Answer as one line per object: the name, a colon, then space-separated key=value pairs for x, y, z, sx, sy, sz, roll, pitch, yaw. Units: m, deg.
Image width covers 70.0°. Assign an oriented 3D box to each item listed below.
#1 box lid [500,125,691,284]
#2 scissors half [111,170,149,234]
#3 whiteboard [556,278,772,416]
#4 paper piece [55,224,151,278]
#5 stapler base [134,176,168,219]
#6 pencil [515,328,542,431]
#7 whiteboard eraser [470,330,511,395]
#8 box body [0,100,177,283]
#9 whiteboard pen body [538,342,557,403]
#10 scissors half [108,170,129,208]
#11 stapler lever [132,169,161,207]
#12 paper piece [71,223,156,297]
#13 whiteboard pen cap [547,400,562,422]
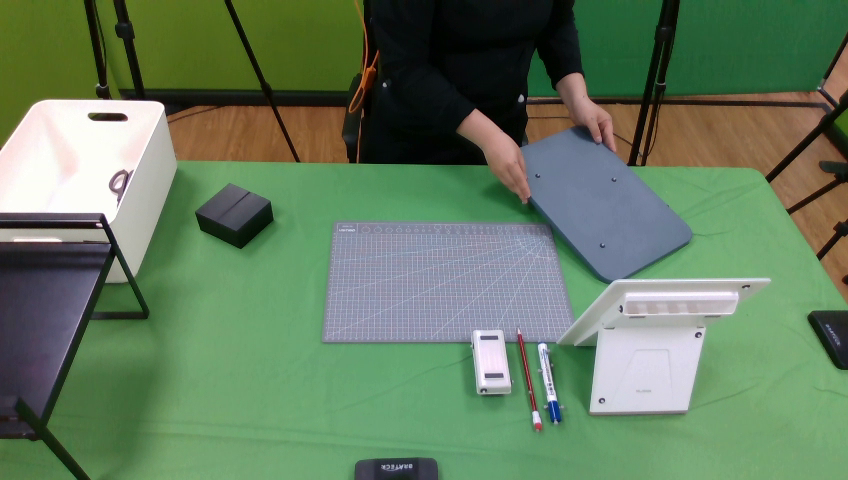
box lid: x=0.358 y=-0.088 z=1.274 sx=0.263 sy=0.015 sz=0.369 roll=-24 pitch=63 yaw=-25
scissors half: x=-0.596 y=-0.078 z=1.223 sx=0.040 sy=0.013 sz=0.174 roll=6 pitch=51 yaw=2
whiteboard: x=0.347 y=0.174 z=0.903 sx=0.217 sy=0.306 sz=0.143 roll=1 pitch=65 yaw=-4
paper piece: x=-0.595 y=0.018 z=1.129 sx=0.135 sy=0.004 sz=0.135 roll=1 pitch=46 yaw=-2
stapler base: x=-0.558 y=-0.093 z=1.234 sx=0.041 sy=0.024 sz=0.129 roll=1 pitch=42 yaw=-8
pencil: x=0.169 y=0.224 z=1.002 sx=0.012 sy=0.012 sz=0.192 roll=-1 pitch=46 yaw=-6
whiteboard eraser: x=0.110 y=0.202 z=0.998 sx=0.055 sy=0.042 sz=0.112 roll=1 pitch=46 yaw=-5
box body: x=-0.639 y=-0.095 z=1.140 sx=0.254 sy=0.161 sz=0.361 roll=1 pitch=46 yaw=-4
whiteboard pen body: x=0.205 y=0.228 z=0.997 sx=0.017 sy=0.017 sz=0.140 roll=1 pitch=46 yaw=-3
scissors half: x=-0.618 y=-0.077 z=1.222 sx=0.040 sy=0.013 sz=0.174 roll=-14 pitch=52 yaw=-8
stapler lever: x=-0.557 y=-0.113 z=1.218 sx=0.027 sy=0.040 sz=0.117 roll=1 pitch=42 yaw=-8
paper piece: x=-0.598 y=0.034 z=1.141 sx=0.136 sy=0.009 sz=0.137 roll=14 pitch=51 yaw=-14
whiteboard pen cap: x=0.205 y=0.269 z=0.956 sx=0.018 sy=0.018 sz=0.033 roll=0 pitch=47 yaw=-5
